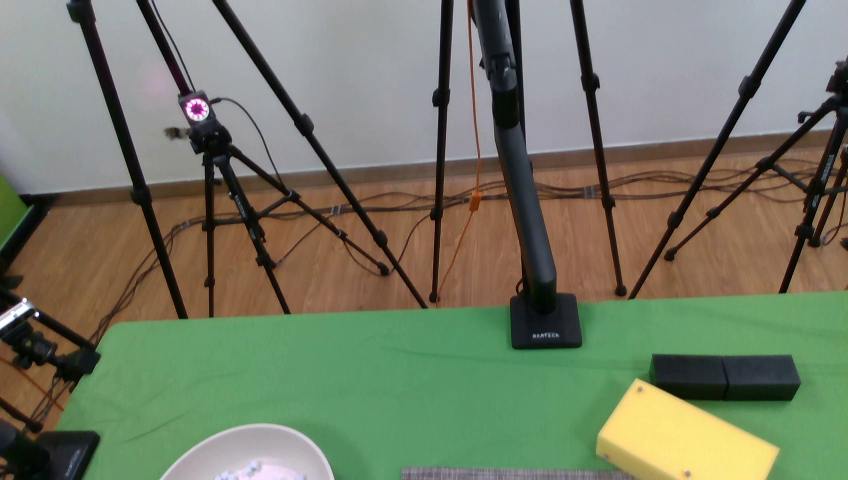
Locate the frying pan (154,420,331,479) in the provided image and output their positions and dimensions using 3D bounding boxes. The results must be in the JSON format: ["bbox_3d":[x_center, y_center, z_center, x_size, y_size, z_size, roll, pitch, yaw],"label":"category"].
[{"bbox_3d":[-0.263,0.466,0.782,0.307,0.104,0.483,-8,36,4],"label":"frying pan"}]

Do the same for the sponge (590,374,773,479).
[{"bbox_3d":[0.358,0.292,0.856,0.205,0.061,0.118,24,53,32],"label":"sponge"}]
